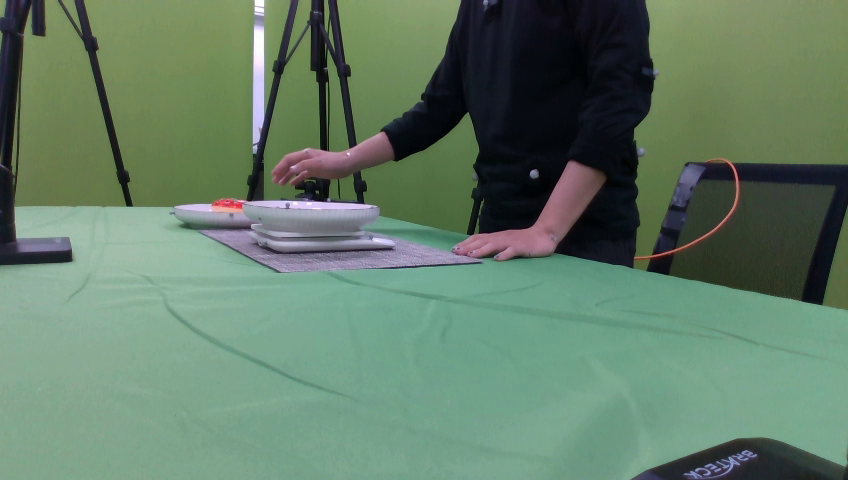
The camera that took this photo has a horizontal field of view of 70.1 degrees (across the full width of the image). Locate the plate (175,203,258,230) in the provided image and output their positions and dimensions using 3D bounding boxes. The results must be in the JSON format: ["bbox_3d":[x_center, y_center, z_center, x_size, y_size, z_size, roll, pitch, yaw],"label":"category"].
[{"bbox_3d":[-0.381,-0.047,1.199,0.208,0.039,0.207,3,7,0],"label":"plate"}]

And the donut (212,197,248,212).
[{"bbox_3d":[-0.376,-0.061,1.220,0.099,0.048,0.099,5,4,0],"label":"donut"}]

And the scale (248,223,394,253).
[{"bbox_3d":[-0.162,-0.006,0.954,0.202,0.031,0.148,-2,8,-32],"label":"scale"}]

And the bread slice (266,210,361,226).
[{"bbox_3d":[-0.174,-0.035,0.934,0.132,0.019,0.104,-1,7,-28],"label":"bread slice"}]

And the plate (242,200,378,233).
[{"bbox_3d":[-0.176,-0.038,0.939,0.209,0.038,0.209,3,7,0],"label":"plate"}]
